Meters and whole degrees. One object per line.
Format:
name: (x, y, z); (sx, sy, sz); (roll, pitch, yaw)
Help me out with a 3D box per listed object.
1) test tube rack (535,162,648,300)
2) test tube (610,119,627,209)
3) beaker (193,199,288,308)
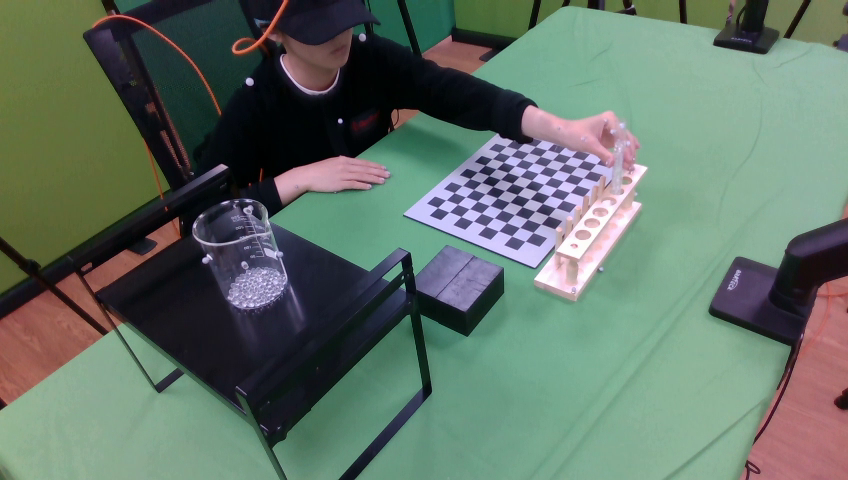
test tube rack: (0.257, -0.024, 0.916); (0.066, 0.085, 0.243); (22, 49, 30)
test tube: (0.285, -0.107, 0.885); (0.017, 0.151, 0.017); (-6, 37, 5)
beaker: (-0.188, 0.018, 0.646); (0.083, 0.101, 0.074); (9, 43, 17)
